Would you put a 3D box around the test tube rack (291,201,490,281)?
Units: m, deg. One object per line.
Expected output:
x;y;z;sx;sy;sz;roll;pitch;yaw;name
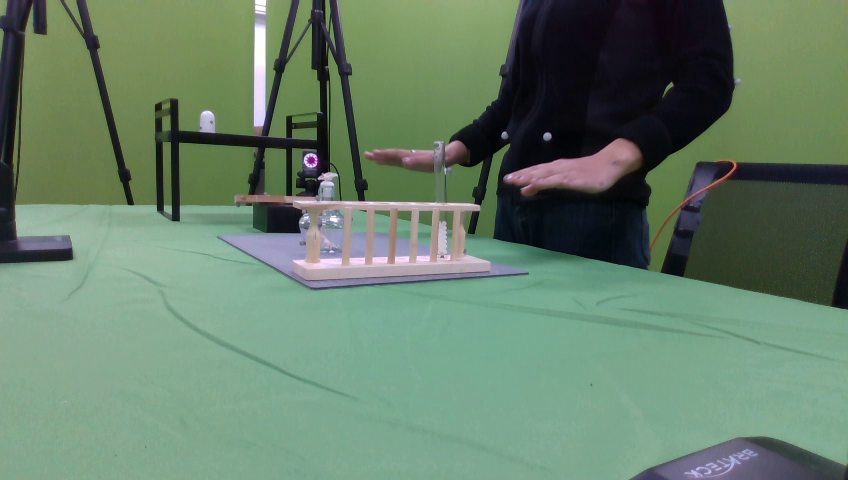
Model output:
-0.035;-0.002;0.745;0.243;0.085;0.066;-1;8;-28;test tube rack

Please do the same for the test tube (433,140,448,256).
0.021;-0.054;0.785;0.017;0.150;0.017;-2;8;1;test tube

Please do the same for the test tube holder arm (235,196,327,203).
-0.270;-0.077;1.153;0.179;0.015;0.013;-2;4;-34;test tube holder arm

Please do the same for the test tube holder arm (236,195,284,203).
-0.304;-0.075;1.123;0.088;0.015;0.010;-2;4;-33;test tube holder arm

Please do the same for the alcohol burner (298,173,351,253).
-0.146;-0.040;0.894;0.078;0.119;0.078;5;7;0;alcohol burner

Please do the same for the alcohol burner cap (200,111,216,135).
-0.448;-0.243;1.255;0.034;0.048;0.034;2;7;0;alcohol burner cap
